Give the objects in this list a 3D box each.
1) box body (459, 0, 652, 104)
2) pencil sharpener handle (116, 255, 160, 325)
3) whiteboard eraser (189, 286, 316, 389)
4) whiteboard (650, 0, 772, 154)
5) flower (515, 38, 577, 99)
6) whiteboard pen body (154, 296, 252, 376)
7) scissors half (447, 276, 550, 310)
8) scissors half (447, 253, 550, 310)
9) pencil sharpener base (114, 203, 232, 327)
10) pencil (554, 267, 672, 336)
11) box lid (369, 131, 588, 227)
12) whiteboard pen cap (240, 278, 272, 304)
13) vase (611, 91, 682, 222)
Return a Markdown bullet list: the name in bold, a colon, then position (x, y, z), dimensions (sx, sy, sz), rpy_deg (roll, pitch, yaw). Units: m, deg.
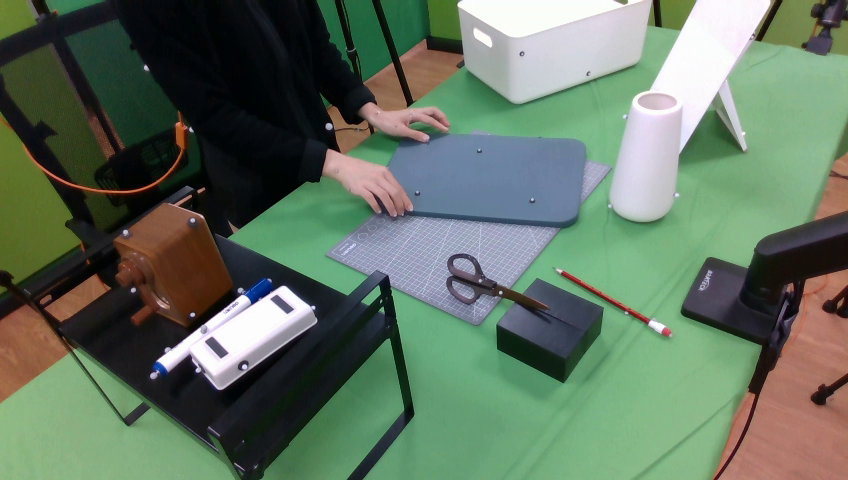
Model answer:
- **box body**: position (0.291, -0.465, 1.371), dimensions (0.365, 0.161, 0.252), rpy_deg (-22, 42, -16)
- **pencil sharpener handle**: position (-0.286, 0.050, 0.594), dimensions (0.035, 0.068, 0.031), rpy_deg (7, 41, 35)
- **whiteboard eraser**: position (-0.166, 0.096, 0.593), dimensions (0.113, 0.042, 0.055), rpy_deg (-36, 47, -29)
- **whiteboard**: position (0.543, -0.298, 1.076), dimensions (0.144, 0.305, 0.216), rpy_deg (12, 40, -7)
- **flower**: position (0.297, -0.413, 1.411), dimensions (0.044, 0.038, 0.362), rpy_deg (-13, 25, 41)
- **whiteboard pen body**: position (-0.214, 0.088, 0.619), dimensions (0.017, 0.017, 0.141), rpy_deg (19, 42, 28)
- **scissors half**: position (0.098, 0.077, 0.827), dimensions (0.174, 0.040, 0.013), rpy_deg (6, 14, 44)
- **scissors half**: position (0.098, 0.058, 0.821), dimensions (0.173, 0.040, 0.013), rpy_deg (27, 33, 37)
- **pencil sharpener base**: position (-0.262, 0.029, 0.635), dimensions (0.061, 0.107, 0.077), rpy_deg (18, 47, 26)
- **pencil**: position (0.260, 0.082, 0.850), dimensions (0.012, 0.012, 0.192), rpy_deg (-33, 46, -27)
- **box lid**: position (0.107, -0.120, 1.107), dimensions (0.370, 0.015, 0.263), rpy_deg (5, 42, 14)
- **whiteboard pen cap**: position (-0.184, 0.057, 0.658), dimensions (0.018, 0.018, 0.033), rpy_deg (19, 44, 28)
- **vase**: position (0.348, -0.125, 0.935), dimensions (0.098, 0.201, 0.097), rpy_deg (-3, 40, 3)
